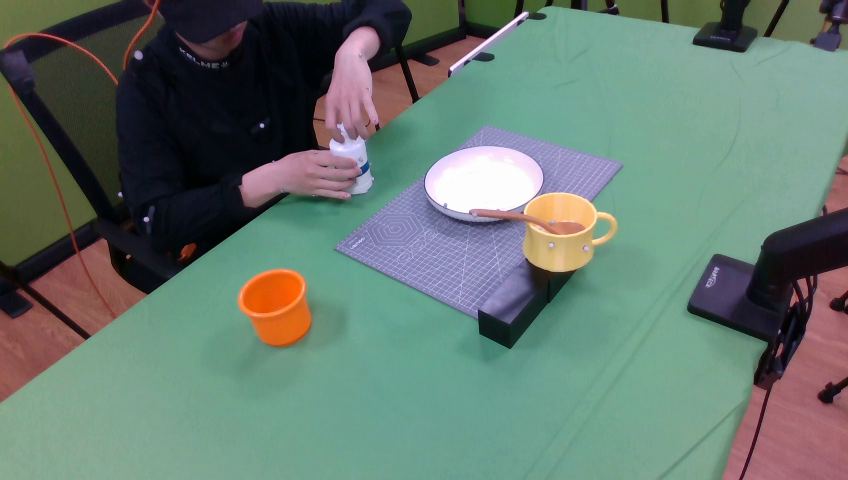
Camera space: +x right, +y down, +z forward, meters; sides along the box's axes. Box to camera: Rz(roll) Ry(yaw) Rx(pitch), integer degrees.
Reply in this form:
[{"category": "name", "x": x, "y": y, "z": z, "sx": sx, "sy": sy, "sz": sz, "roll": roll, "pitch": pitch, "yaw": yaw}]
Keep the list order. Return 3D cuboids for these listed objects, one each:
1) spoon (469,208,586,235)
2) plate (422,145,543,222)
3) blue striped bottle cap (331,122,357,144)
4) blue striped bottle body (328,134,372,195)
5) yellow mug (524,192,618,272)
[{"category": "spoon", "x": 0.143, "y": -0.026, "z": 0.817, "sx": 0.195, "sy": 0.021, "sz": 0.041, "roll": 12, "pitch": 35, "yaw": -29}, {"category": "plate", "x": 0.101, "y": -0.094, "z": 1.048, "sx": 0.207, "sy": 0.039, "sz": 0.206, "roll": -4, "pitch": 41, "yaw": 4}, {"category": "blue striped bottle cap", "x": -0.139, "y": -0.186, "z": 1.048, "sx": 0.044, "sy": 0.021, "sz": 0.044, "roll": -5, "pitch": 42, "yaw": 5}, {"category": "blue striped bottle body", "x": -0.134, "y": -0.145, "z": 1.082, "sx": 0.063, "sy": 0.121, "sz": 0.063, "roll": -4, "pitch": 41, "yaw": 4}, {"category": "yellow mug", "x": 0.206, "y": -0.014, "z": 0.845, "sx": 0.131, "sy": 0.064, "sz": 0.099, "roll": -4, "pitch": 41, "yaw": 2}]
